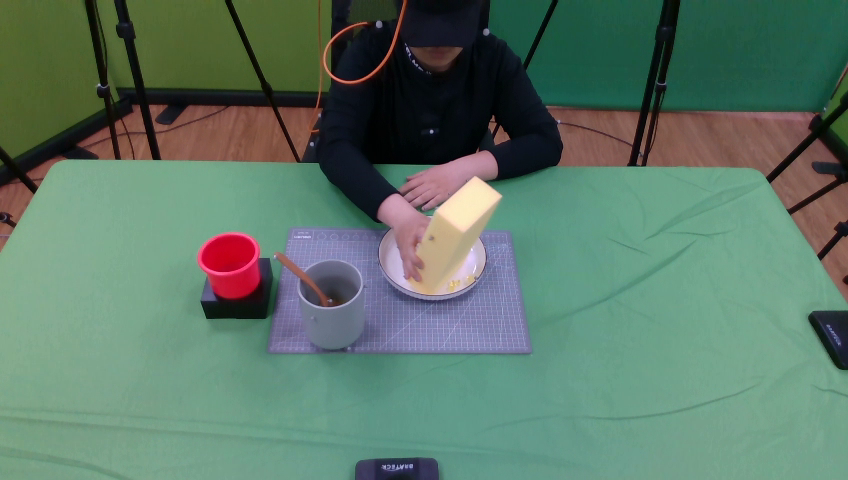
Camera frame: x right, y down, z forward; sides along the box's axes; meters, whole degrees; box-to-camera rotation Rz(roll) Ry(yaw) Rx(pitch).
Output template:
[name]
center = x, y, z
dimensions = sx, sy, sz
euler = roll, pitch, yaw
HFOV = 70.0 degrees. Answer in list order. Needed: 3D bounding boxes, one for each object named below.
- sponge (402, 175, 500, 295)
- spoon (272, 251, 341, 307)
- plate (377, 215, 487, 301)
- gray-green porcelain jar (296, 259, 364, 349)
[sponge]
center = 0.043, -0.002, 1.054
dimensions = 0.061, 0.207, 0.118
euler = 39, 51, 11
[spoon]
center = -0.180, 0.077, 0.982
dimensions = 0.021, 0.195, 0.041
euler = -9, 46, 28
[plate]
center = 0.015, 0.037, 1.147
dimensions = 0.208, 0.039, 0.206
euler = 2, 46, -2
[gray-green porcelain jar]
center = -0.152, 0.111, 1.003
dimensions = 0.106, 0.127, 0.105
euler = 2, 46, -2
